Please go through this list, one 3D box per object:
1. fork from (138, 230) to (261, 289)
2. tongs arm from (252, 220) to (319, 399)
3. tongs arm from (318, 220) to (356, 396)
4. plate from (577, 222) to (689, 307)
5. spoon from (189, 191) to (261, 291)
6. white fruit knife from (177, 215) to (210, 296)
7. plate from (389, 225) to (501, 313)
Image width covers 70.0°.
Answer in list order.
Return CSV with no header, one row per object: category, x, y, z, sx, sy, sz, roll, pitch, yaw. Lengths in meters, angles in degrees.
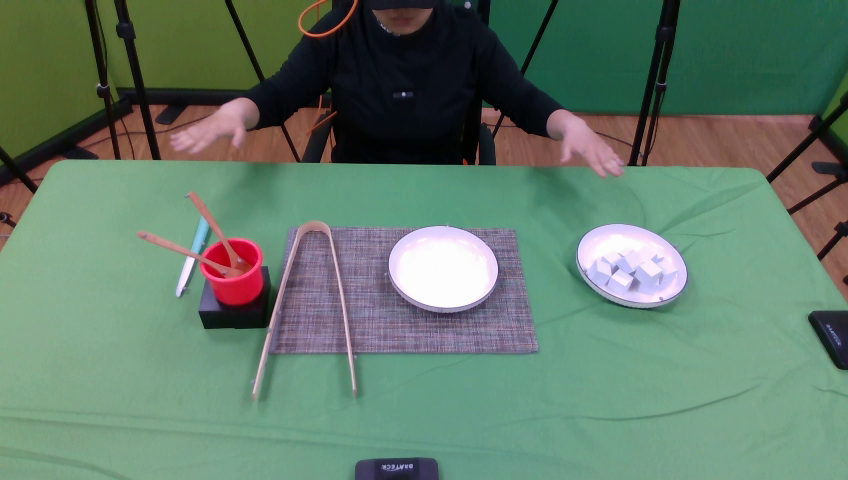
fork,-0.360,0.032,0.981,0.208,0.018,0.028,31,60,-30
tongs arm,-0.236,0.105,1.067,0.051,0.026,0.382,1,46,0
tongs arm,-0.154,0.104,1.074,0.028,0.028,0.385,-11,47,-7
plate,0.396,0.050,1.165,0.209,0.038,0.208,2,47,-2
spoon,-0.333,0.001,1.011,0.041,0.194,0.021,-34,15,-25
white fruit knife,-0.435,0.025,1.148,0.027,0.016,0.206,-18,45,19
plate,0.038,0.057,1.128,0.208,0.039,0.206,2,46,-2
